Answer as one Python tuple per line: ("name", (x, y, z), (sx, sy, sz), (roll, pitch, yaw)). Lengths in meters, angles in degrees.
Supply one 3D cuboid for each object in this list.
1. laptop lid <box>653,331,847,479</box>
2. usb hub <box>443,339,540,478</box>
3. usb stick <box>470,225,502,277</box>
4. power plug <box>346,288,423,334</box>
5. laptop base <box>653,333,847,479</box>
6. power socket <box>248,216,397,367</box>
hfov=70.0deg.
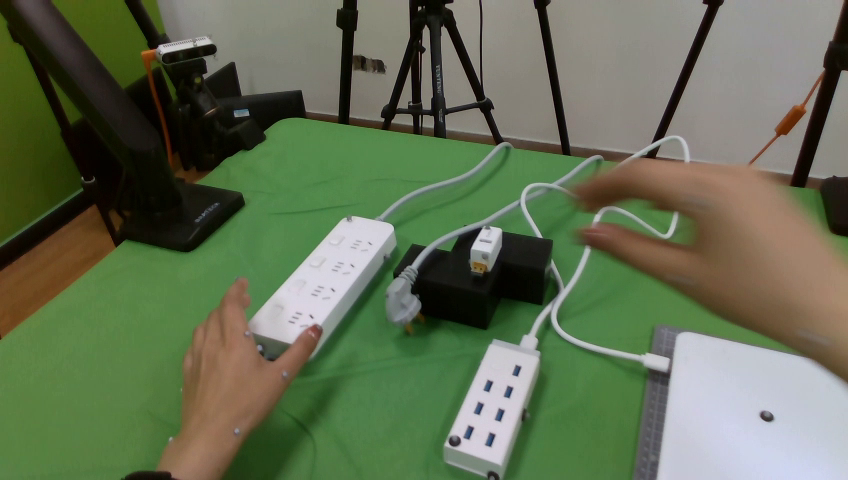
("laptop lid", (0.350, 0.186, 0.426), (0.355, 0.013, 0.240), (13, 42, 21))
("usb hub", (0.061, 0.140, 0.523), (0.049, 0.025, 0.124), (12, 39, 21))
("usb stick", (0.061, 0.012, 0.608), (0.021, 0.027, 0.059), (13, 42, 17))
("power plug", (-0.035, 0.073, 0.609), (0.072, 0.053, 0.035), (-15, 26, 48))
("laptop base", (0.352, 0.194, 0.434), (0.352, 0.023, 0.234), (12, 43, 19))
("power socket", (-0.102, 0.045, 0.657), (0.072, 0.033, 0.225), (13, 40, 20))
